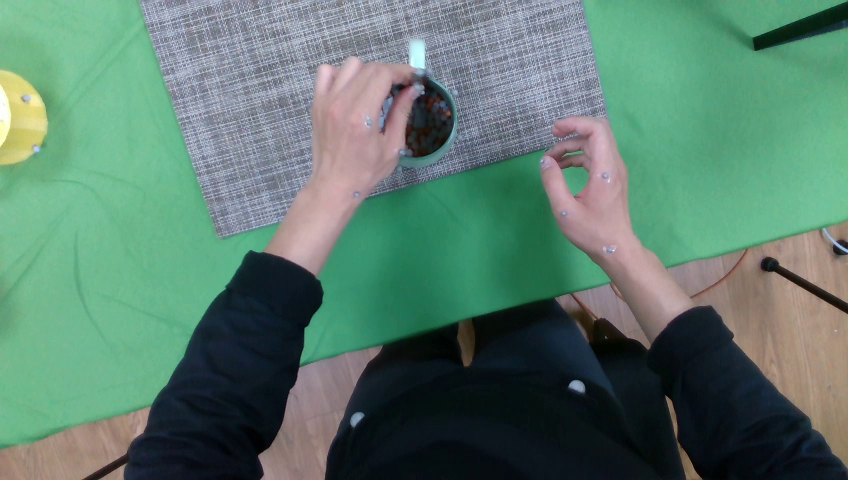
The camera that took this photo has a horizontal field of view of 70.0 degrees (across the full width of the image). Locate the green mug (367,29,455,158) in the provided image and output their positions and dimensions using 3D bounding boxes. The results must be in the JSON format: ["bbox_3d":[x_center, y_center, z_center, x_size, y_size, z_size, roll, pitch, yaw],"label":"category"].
[{"bbox_3d":[-0.012,-0.145,0.606,0.092,0.104,0.125,1,98,-2],"label":"green mug"}]

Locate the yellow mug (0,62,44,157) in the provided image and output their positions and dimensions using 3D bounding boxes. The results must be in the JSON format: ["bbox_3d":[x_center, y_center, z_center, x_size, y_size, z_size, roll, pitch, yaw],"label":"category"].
[{"bbox_3d":[-0.456,-0.118,0.610,0.100,0.064,0.131,16,98,-6],"label":"yellow mug"}]

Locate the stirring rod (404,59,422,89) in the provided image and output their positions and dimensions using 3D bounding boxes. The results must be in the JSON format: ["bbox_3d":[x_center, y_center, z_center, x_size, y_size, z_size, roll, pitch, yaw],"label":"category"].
[{"bbox_3d":[-0.009,-0.150,0.554,0.014,0.175,0.006,-16,98,2],"label":"stirring rod"}]
